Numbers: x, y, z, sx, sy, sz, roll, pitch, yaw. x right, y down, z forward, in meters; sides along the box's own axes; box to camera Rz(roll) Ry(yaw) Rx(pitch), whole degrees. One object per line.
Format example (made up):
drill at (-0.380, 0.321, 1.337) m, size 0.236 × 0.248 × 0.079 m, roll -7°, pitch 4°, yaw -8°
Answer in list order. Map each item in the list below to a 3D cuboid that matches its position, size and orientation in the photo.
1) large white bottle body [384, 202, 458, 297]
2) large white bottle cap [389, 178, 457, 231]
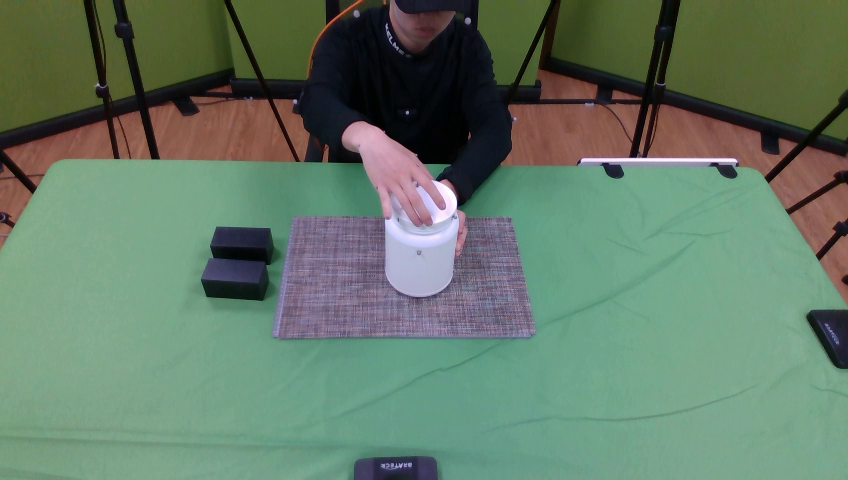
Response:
large white bottle body at (-0.006, -0.002, 1.081) m, size 0.131 × 0.185 × 0.130 m, roll 2°, pitch 46°, yaw -2°
large white bottle cap at (-0.001, -0.062, 1.021) m, size 0.115 × 0.018 × 0.114 m, roll 2°, pitch 47°, yaw -2°
